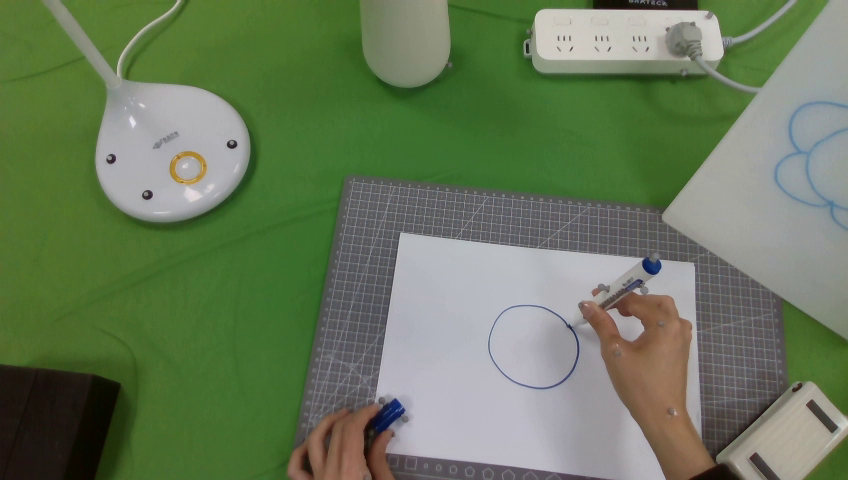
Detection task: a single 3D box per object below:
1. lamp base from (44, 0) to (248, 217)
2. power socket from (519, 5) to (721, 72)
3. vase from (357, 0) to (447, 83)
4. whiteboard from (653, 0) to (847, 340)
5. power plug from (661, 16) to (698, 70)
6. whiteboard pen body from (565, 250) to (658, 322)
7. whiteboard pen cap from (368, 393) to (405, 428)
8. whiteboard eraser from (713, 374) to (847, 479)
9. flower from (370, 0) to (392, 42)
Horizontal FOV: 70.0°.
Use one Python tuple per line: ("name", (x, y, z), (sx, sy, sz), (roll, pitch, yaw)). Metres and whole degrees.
("lamp base", (-0.279, -0.133, 0.576), (0.178, 0.181, 0.160), (38, 74, 16))
("power socket", (0.224, -0.230, 0.689), (0.227, 0.033, 0.071), (1, 70, 0))
("vase", (-0.025, -0.248, 0.608), (0.098, 0.201, 0.097), (0, 69, 2))
("whiteboard", (0.394, -0.093, 0.527), (0.216, 0.307, 0.143), (36, 53, 13))
("power plug", (0.274, -0.209, 0.658), (0.035, 0.053, 0.072), (11, 76, 4))
("whiteboard pen body", (0.158, 0.046, 0.530), (0.017, 0.141, 0.017), (8, 60, -14))
("whiteboard pen cap", (-0.034, 0.155, 0.554), (0.033, 0.018, 0.018), (-39, 73, -15))
("whiteboard eraser", (0.312, 0.172, 0.533), (0.112, 0.042, 0.055), (-36, 72, -12))
("flower", (-0.008, -0.268, 0.528), (0.044, 0.361, 0.038), (-36, 90, -21))
